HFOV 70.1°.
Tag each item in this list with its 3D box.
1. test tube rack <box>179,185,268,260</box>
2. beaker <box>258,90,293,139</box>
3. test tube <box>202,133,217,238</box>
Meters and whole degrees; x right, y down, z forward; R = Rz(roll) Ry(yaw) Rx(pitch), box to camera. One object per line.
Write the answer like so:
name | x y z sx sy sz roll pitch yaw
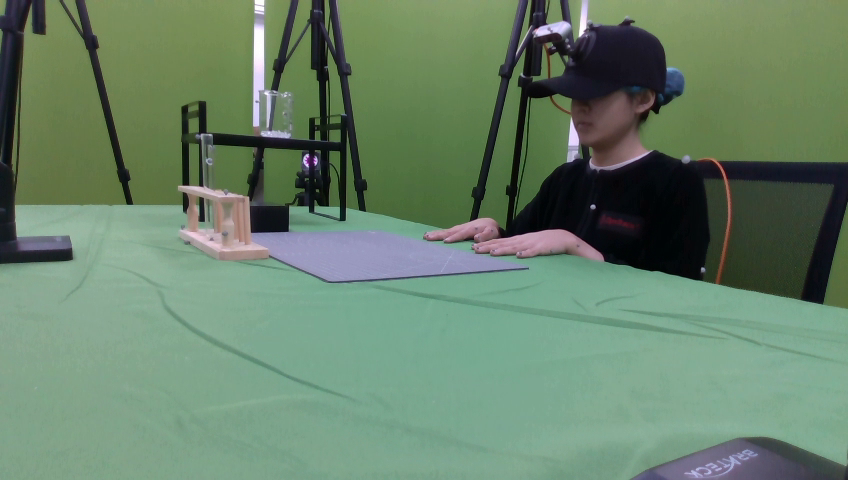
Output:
test tube rack | -0.303 -0.031 0.898 0.067 0.085 0.241 -2 8 -33
beaker | -0.324 -0.274 1.326 0.074 0.100 0.083 -2 10 -33
test tube | -0.307 -0.078 0.868 0.017 0.150 0.017 1 10 0
